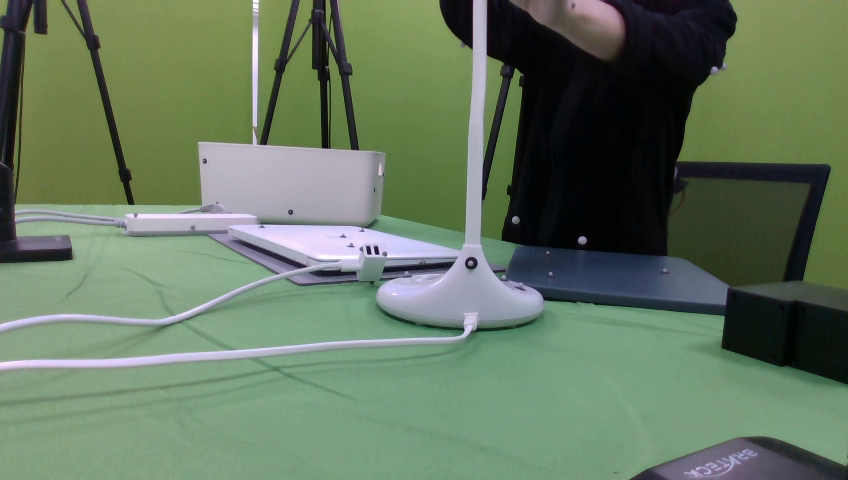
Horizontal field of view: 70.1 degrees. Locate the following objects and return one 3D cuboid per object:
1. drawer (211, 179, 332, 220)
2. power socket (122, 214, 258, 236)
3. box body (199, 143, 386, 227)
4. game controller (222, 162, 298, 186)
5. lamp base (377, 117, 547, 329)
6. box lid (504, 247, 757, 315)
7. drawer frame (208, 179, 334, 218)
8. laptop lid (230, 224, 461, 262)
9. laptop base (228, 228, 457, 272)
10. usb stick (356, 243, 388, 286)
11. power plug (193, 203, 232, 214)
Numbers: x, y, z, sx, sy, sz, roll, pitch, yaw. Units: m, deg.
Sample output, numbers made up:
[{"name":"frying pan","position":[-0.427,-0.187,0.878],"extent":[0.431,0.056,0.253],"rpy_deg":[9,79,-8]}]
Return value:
[{"name":"drawer","position":[-0.328,-0.095,1.332],"extent":[0.212,0.073,0.194],"rpy_deg":[5,8,6]},{"name":"power socket","position":[-0.398,-0.028,1.049],"extent":[0.228,0.032,0.072],"rpy_deg":[-3,8,-34]},{"name":"box body","position":[-0.276,-0.124,1.334],"extent":[0.364,0.160,0.254],"rpy_deg":[3,7,1]},{"name":"game controller","position":[-0.357,-0.143,1.322],"extent":[0.156,0.051,0.097],"rpy_deg":[1,2,-16]},{"name":"lamp base","position":[0.041,-0.019,0.552],"extent":[0.161,0.180,0.179],"rpy_deg":[1,10,-10]},{"name":"box lid","position":[0.244,0.044,0.793],"extent":[0.263,0.015,0.372],"rpy_deg":[4,7,11]},{"name":"drawer frame","position":[-0.327,-0.093,1.328],"extent":[0.213,0.082,0.202],"rpy_deg":[0,5,6]},{"name":"laptop lid","position":[-0.119,0.000,0.889],"extent":[0.243,0.013,0.355],"rpy_deg":[1,7,-33]},{"name":"laptop base","position":[-0.122,0.011,0.889],"extent":[0.237,0.023,0.352],"rpy_deg":[2,6,-35]},{"name":"usb stick","position":[-0.058,0.029,0.658],"extent":[0.027,0.059,0.021],"rpy_deg":[-5,52,-18]},{"name":"power plug","position":[-0.393,-0.042,1.139],"extent":[0.072,0.052,0.035],"rpy_deg":[-14,1,31]}]
